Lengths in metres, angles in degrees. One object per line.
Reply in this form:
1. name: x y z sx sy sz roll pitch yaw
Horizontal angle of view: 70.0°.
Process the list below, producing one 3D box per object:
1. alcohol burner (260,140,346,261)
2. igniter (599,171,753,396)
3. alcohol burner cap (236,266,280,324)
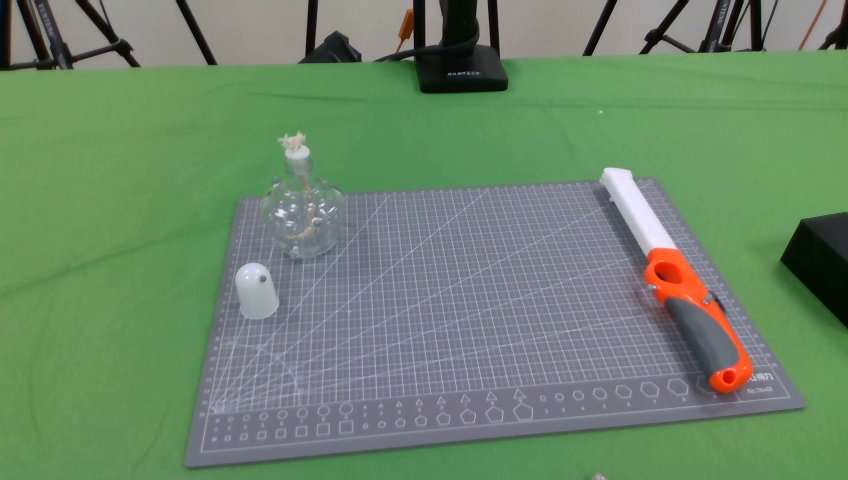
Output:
1. alcohol burner: -0.109 -0.039 0.542 0.078 0.120 0.077 2 42 -2
2. igniter: 0.217 0.023 0.546 0.057 0.025 0.273 5 40 -12
3. alcohol burner cap: -0.139 0.042 0.501 0.034 0.048 0.033 2 41 -1
